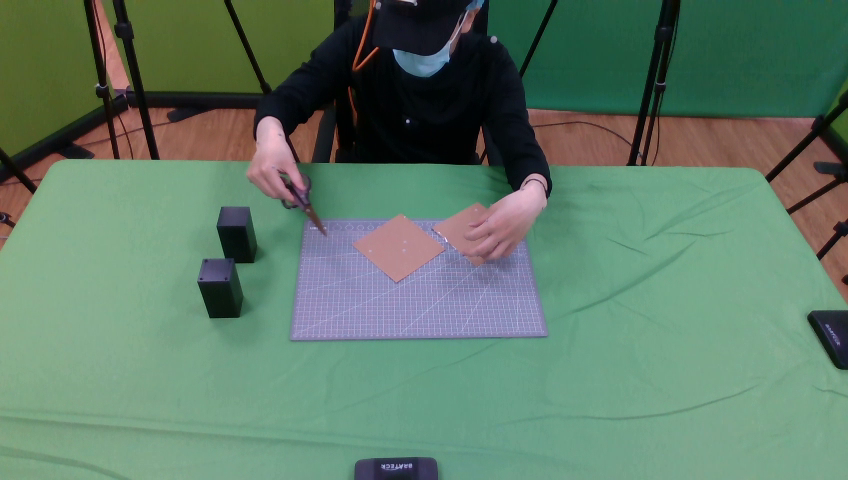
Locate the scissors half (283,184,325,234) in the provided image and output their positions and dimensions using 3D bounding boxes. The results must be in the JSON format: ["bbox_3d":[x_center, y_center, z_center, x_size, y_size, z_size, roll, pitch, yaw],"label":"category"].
[{"bbox_3d":[-0.219,-0.054,1.110,0.174,0.013,0.040,39,99,44],"label":"scissors half"}]

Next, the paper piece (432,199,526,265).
[{"bbox_3d":[0.111,-0.020,1.227,0.138,0.009,0.135,-31,58,-28],"label":"paper piece"}]

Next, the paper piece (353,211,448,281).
[{"bbox_3d":[-0.047,0.008,1.188,0.135,0.004,0.134,-33,57,-30],"label":"paper piece"}]

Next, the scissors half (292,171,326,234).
[{"bbox_3d":[-0.207,-0.070,1.105,0.013,0.040,0.174,19,31,-44],"label":"scissors half"}]
